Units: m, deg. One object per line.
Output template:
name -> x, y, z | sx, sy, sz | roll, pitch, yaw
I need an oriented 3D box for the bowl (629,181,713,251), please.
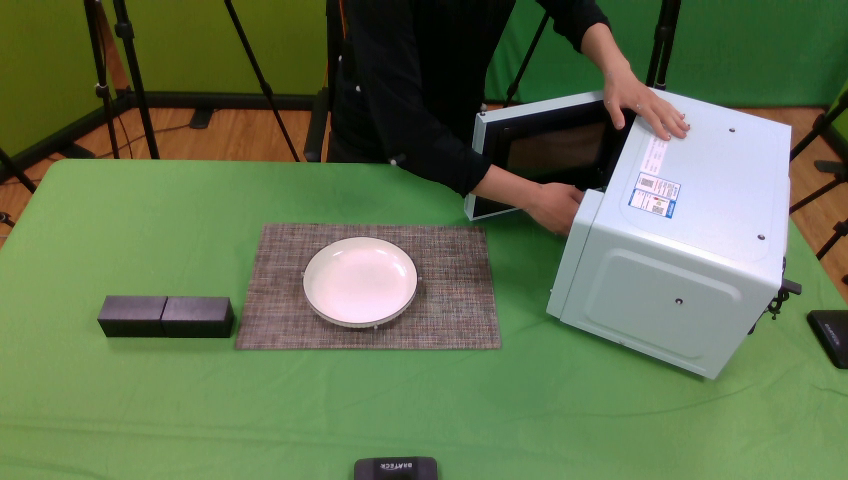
bowl -> 0.450, -0.032, 1.139 | 0.151, 0.077, 0.150 | 3, 49, -4

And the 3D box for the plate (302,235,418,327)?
plate -> -0.114, 0.077, 1.098 | 0.208, 0.039, 0.206 | 2, 46, -2

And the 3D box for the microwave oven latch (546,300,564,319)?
microwave oven latch -> 0.242, 0.102, 1.081 | 0.030, 0.029, 0.079 | 21, 48, 17

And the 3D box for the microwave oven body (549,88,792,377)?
microwave oven body -> 0.456, -0.028, 1.088 | 0.325, 0.261, 0.440 | 20, 47, 16

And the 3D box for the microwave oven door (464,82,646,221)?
microwave oven door -> 0.258, -0.176, 1.208 | 0.356, 0.245, 0.039 | -14, 48, -17
